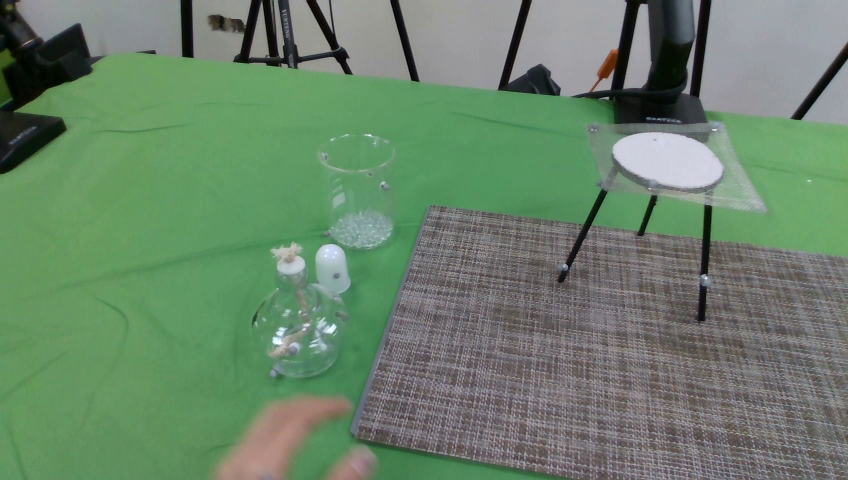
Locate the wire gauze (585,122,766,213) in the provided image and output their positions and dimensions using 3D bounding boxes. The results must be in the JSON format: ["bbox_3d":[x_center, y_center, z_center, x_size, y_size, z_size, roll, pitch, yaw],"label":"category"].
[{"bbox_3d":[0.200,-0.067,0.497,0.125,0.011,0.120,5,40,3],"label":"wire gauze"}]

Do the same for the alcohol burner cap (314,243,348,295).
[{"bbox_3d":[-0.088,0.024,0.564,0.034,0.048,0.033,1,40,-1],"label":"alcohol burner cap"}]

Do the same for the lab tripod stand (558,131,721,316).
[{"bbox_3d":[0.204,-0.017,0.543,0.148,0.132,0.147,2,39,-1],"label":"lab tripod stand"}]

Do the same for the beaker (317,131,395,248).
[{"bbox_3d":[-0.064,-0.050,0.610,0.073,0.101,0.083,18,42,19],"label":"beaker"}]

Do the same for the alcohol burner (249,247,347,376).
[{"bbox_3d":[-0.100,0.050,0.474,0.078,0.120,0.077,2,41,-1],"label":"alcohol burner"}]
